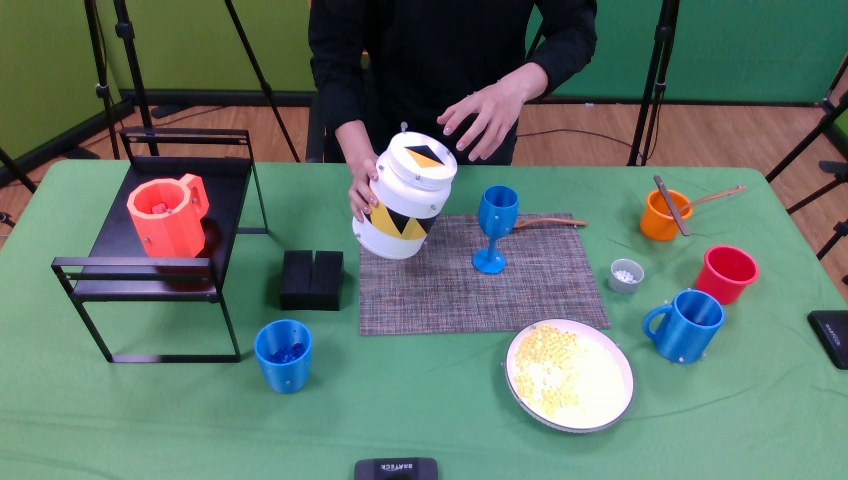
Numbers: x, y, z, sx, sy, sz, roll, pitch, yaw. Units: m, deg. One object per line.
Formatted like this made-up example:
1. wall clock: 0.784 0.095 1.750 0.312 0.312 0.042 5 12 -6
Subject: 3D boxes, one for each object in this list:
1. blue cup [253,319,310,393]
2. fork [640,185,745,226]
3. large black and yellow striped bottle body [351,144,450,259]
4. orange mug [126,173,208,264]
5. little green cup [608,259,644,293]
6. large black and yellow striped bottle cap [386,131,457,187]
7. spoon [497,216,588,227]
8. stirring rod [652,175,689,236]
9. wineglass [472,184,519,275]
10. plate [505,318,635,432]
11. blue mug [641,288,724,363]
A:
1. blue cup: -0.217 0.187 0.943 0.093 0.101 0.092 4 45 -3
2. fork: 0.534 -0.069 1.215 0.207 0.019 0.028 -26 27 33
3. large black and yellow striped bottle body: -0.036 -0.072 1.007 0.131 0.184 0.130 17 41 -15
4. orange mug: -0.371 -0.040 0.902 0.083 0.101 0.126 18 52 13
5. little green cup: 0.379 0.070 1.147 0.061 0.039 0.061 3 45 -2
6. large black and yellow striped bottle cap: -0.003 -0.129 0.954 0.115 0.019 0.114 16 42 -15
7. spoon: 0.245 -0.039 1.247 0.194 0.022 0.041 -2 25 -6
8. stirring rod: 0.491 -0.072 1.211 0.014 0.006 0.175 -1 47 -6
9. wineglass: 0.129 -0.018 1.113 0.074 0.173 0.073 2 46 -2
10. plate: 0.235 0.221 0.991 0.209 0.038 0.208 2 45 -2
11. blue mug: 0.432 0.144 1.033 0.116 0.106 0.082 8 46 5
